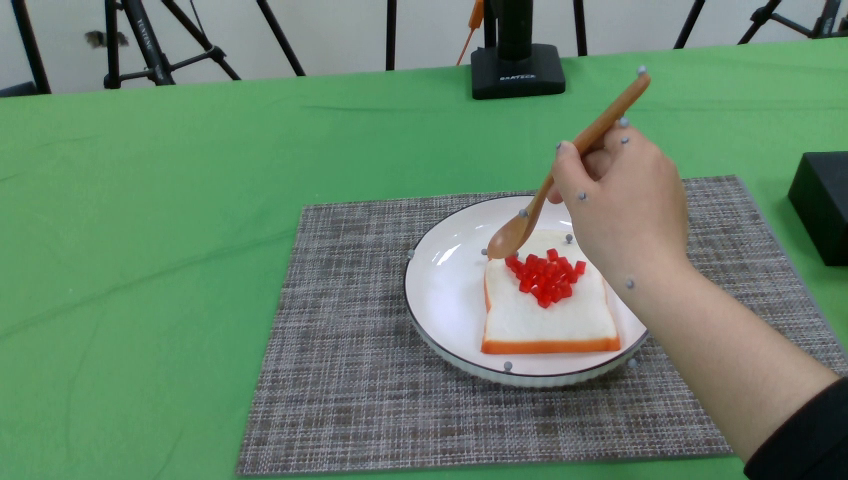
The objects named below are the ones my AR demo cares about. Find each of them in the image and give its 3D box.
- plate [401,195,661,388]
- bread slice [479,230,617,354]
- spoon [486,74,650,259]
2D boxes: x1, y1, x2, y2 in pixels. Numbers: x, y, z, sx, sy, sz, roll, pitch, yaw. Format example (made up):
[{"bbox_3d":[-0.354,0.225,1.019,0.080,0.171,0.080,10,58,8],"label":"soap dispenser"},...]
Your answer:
[{"bbox_3d":[0.085,0.039,0.508,0.209,0.038,0.207,-4,42,4],"label":"plate"},{"bbox_3d":[0.098,0.039,0.509,0.105,0.019,0.130,-1,42,5],"label":"bread slice"},{"bbox_3d":[0.096,-0.045,0.438,0.022,0.194,0.041,24,48,-7],"label":"spoon"}]
